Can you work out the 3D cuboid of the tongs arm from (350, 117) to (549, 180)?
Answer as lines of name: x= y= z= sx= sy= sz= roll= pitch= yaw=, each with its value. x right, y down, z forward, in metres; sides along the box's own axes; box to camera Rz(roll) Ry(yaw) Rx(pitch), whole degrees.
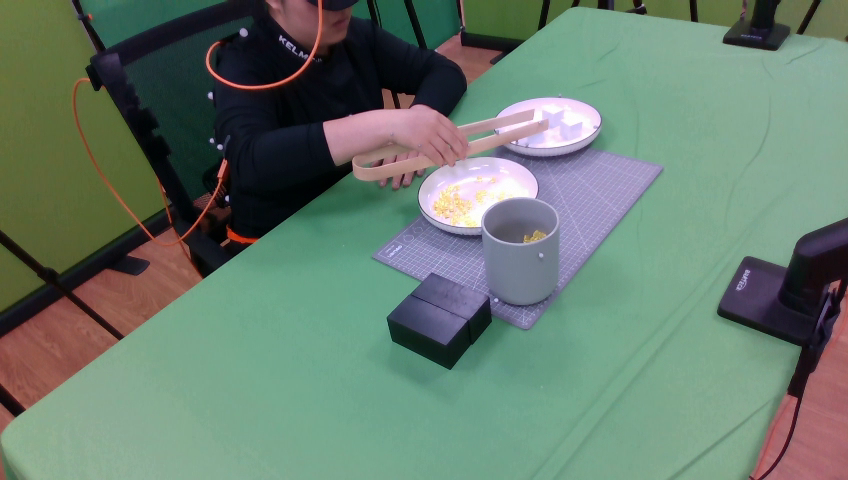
tongs arm: x=0.056 y=-0.168 z=1.070 sx=0.387 sy=0.026 sz=0.050 roll=-20 pitch=45 yaw=-23

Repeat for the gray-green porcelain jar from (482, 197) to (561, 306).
gray-green porcelain jar: x=0.138 y=0.020 z=0.846 sx=0.106 sy=0.127 sz=0.105 roll=-5 pitch=40 yaw=5

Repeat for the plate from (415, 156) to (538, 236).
plate: x=0.090 y=-0.072 z=1.034 sx=0.207 sy=0.039 sz=0.206 roll=-5 pitch=40 yaw=5

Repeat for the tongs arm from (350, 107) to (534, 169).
tongs arm: x=0.041 y=-0.186 z=1.091 sx=0.389 sy=0.028 sz=0.028 roll=-19 pitch=48 yaw=-22

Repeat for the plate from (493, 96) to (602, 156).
plate: x=0.238 y=-0.218 z=1.179 sx=0.209 sy=0.038 sz=0.208 roll=-4 pitch=39 yaw=4
